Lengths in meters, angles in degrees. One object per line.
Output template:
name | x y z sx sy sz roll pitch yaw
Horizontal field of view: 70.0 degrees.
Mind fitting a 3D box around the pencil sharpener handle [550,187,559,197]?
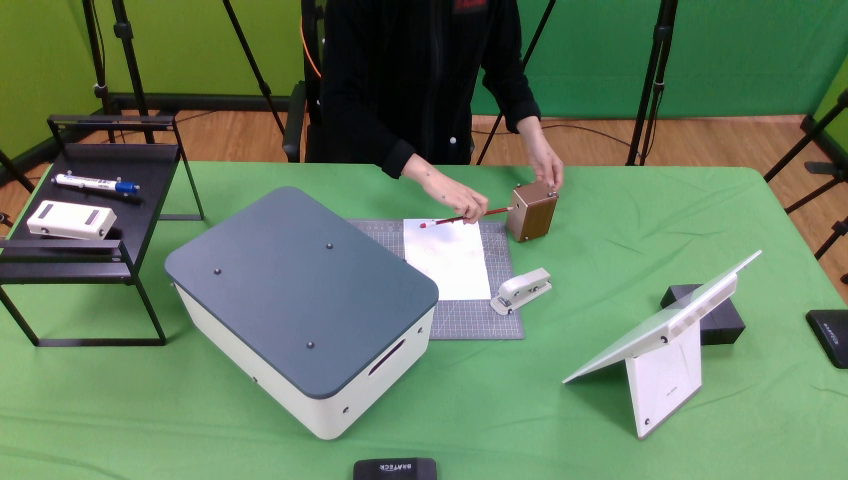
pencil sharpener handle | 0.261 -0.084 1.221 0.031 0.068 0.036 -16 65 -19

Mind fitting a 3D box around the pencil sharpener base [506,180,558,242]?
pencil sharpener base | 0.216 -0.059 1.211 0.077 0.107 0.061 -16 49 -19

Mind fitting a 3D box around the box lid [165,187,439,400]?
box lid | -0.186 0.060 0.925 0.370 0.015 0.263 32 53 25

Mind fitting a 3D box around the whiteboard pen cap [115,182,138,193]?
whiteboard pen cap | -0.483 -0.086 0.984 0.033 0.018 0.018 7 46 10

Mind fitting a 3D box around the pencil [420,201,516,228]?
pencil | 0.084 -0.051 1.147 0.194 0.012 0.012 -15 49 -10

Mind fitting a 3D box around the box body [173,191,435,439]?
box body | -0.191 0.110 0.979 0.362 0.161 0.254 33 53 24

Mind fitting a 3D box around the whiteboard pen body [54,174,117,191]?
whiteboard pen body | -0.541 -0.093 0.993 0.140 0.017 0.017 7 46 8

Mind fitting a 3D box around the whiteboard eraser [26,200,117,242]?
whiteboard eraser | -0.532 -0.026 0.919 0.113 0.042 0.055 7 45 3

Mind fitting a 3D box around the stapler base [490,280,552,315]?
stapler base | 0.181 0.094 1.118 0.130 0.024 0.041 -24 56 -29

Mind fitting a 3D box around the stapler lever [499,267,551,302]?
stapler lever | 0.185 0.076 1.101 0.118 0.040 0.026 -25 56 -29

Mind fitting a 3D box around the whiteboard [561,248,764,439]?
whiteboard | 0.386 0.176 0.905 0.217 0.306 0.143 -26 72 -27
